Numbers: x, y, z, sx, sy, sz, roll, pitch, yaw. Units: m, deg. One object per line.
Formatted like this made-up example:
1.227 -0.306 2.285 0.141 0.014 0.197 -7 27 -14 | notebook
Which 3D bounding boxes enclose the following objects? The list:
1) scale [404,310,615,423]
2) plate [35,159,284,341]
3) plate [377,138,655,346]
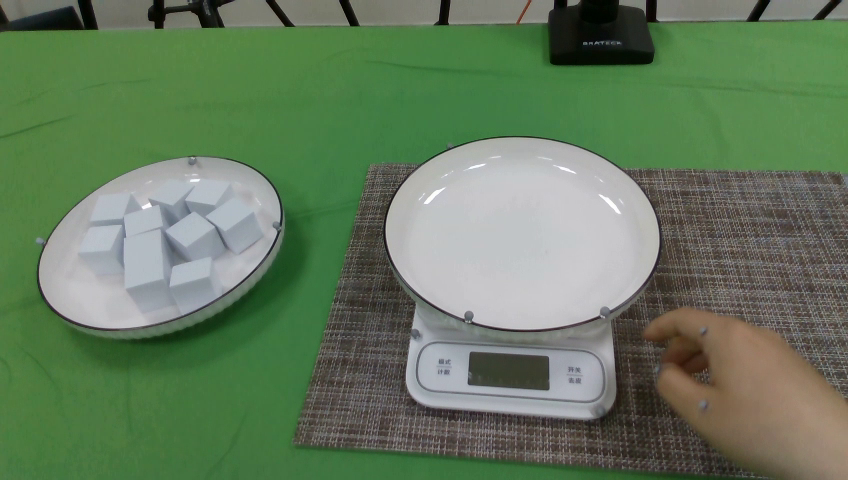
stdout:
0.068 0.043 0.477 0.148 0.032 0.199 2 48 8 | scale
-0.226 0.007 0.538 0.209 0.038 0.207 -2 47 3 | plate
0.069 -0.001 0.473 0.207 0.039 0.205 -2 47 2 | plate
